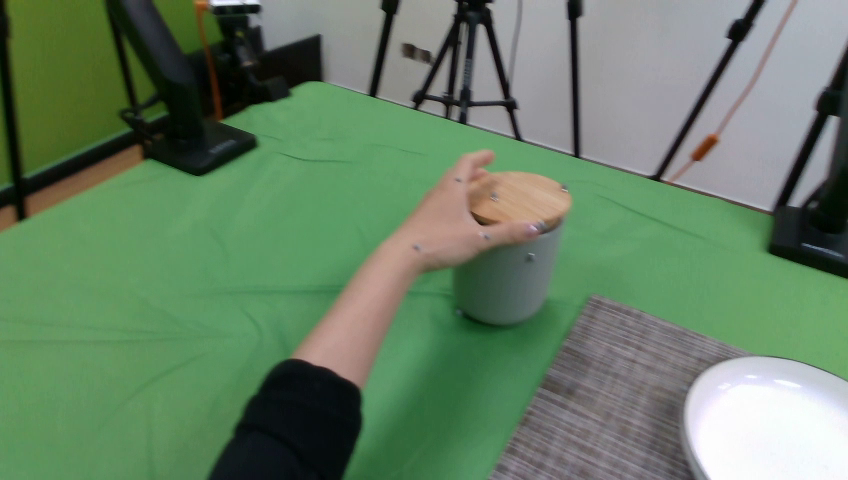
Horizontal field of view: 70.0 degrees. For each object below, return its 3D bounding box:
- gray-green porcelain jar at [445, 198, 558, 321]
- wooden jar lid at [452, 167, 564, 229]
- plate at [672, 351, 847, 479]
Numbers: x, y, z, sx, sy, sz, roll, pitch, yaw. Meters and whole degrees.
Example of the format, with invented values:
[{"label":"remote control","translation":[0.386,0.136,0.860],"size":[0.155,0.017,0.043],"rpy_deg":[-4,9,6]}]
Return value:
[{"label":"gray-green porcelain jar","translation":[0.076,0.013,0.635],"size":[0.106,0.127,0.105],"rpy_deg":[3,38,-2]},{"label":"wooden jar lid","translation":[0.081,-0.041,0.591],"size":[0.108,0.021,0.107],"rpy_deg":[1,32,0]},{"label":"plate","translation":[0.311,0.182,0.506],"size":[0.208,0.039,0.205],"rpy_deg":[3,37,-2]}]
